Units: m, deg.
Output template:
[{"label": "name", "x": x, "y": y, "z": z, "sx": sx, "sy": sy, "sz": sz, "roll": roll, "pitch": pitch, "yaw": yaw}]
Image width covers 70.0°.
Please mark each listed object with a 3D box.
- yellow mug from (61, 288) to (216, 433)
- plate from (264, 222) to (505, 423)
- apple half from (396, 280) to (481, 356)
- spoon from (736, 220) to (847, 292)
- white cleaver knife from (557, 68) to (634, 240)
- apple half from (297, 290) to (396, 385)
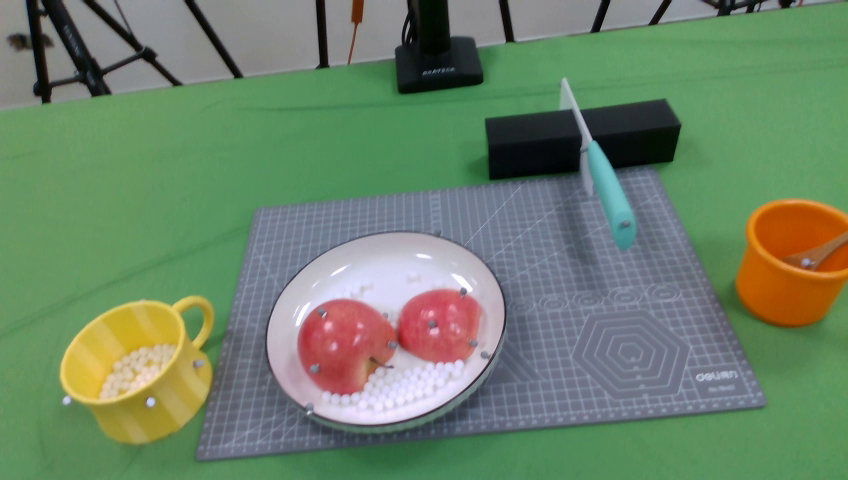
[{"label": "yellow mug", "x": -0.230, "y": 0.092, "z": 0.520, "sx": 0.099, "sy": 0.064, "sz": 0.130, "roll": 21, "pitch": 51, "yaw": 26}, {"label": "plate", "x": -0.033, "y": 0.069, "z": 0.531, "sx": 0.209, "sy": 0.038, "sz": 0.207, "roll": -4, "pitch": 46, "yaw": 4}, {"label": "apple half", "x": 0.011, "y": 0.059, "z": 0.525, "sx": 0.081, "sy": 0.033, "sz": 0.080, "roll": -3, "pitch": 48, "yaw": 4}, {"label": "spoon", "x": 0.345, "y": -0.011, "z": 0.484, "sx": 0.022, "sy": 0.194, "sz": 0.041, "roll": 28, "pitch": 41, "yaw": -27}, {"label": "white cleaver knife", "x": 0.174, "y": -0.096, "z": 0.643, "sx": 0.021, "sy": 0.066, "sz": 0.283, "roll": -9, "pitch": 41, "yaw": 6}, {"label": "apple half", "x": -0.069, "y": 0.073, "z": 0.509, "sx": 0.074, "sy": 0.054, "sz": 0.081, "roll": 31, "pitch": 57, "yaw": 35}]
